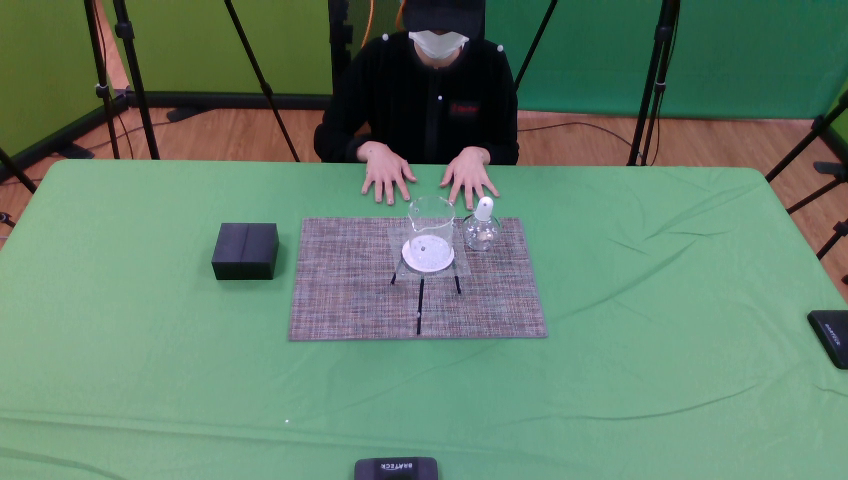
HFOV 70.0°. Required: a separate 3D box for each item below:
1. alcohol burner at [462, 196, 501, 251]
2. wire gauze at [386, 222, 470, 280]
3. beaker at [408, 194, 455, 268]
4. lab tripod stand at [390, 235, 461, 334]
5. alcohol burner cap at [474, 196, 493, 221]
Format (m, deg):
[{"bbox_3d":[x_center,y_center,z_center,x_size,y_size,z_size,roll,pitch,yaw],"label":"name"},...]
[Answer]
[{"bbox_3d":[0.112,-0.037,1.173,0.078,0.120,0.077,1,45,-1],"label":"alcohol burner"},{"bbox_3d":[0.005,0.018,1.006,0.125,0.011,0.120,-7,45,-5],"label":"wire gauze"},{"bbox_3d":[0.009,-0.010,0.965,0.074,0.101,0.084,23,50,20],"label":"beaker"},{"bbox_3d":[-0.001,0.067,1.050,0.148,0.132,0.147,1,47,-1],"label":"lab tripod stand"},{"bbox_3d":[0.116,-0.062,1.147,0.034,0.048,0.033,5,47,-6],"label":"alcohol burner cap"}]
